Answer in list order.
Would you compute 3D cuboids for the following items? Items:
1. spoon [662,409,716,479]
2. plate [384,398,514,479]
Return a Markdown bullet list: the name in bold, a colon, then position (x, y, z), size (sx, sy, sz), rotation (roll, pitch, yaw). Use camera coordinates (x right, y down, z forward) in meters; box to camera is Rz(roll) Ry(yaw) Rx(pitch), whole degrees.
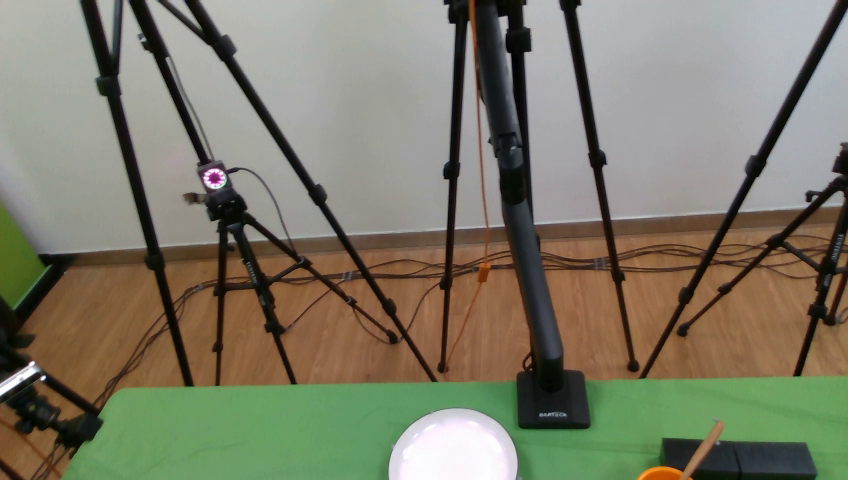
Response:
- **spoon**: position (0.355, 0.319, 0.850), size (0.022, 0.194, 0.041), rotation (18, 14, -41)
- **plate**: position (0.041, 0.350, 0.971), size (0.207, 0.039, 0.205), rotation (-6, 39, 6)
